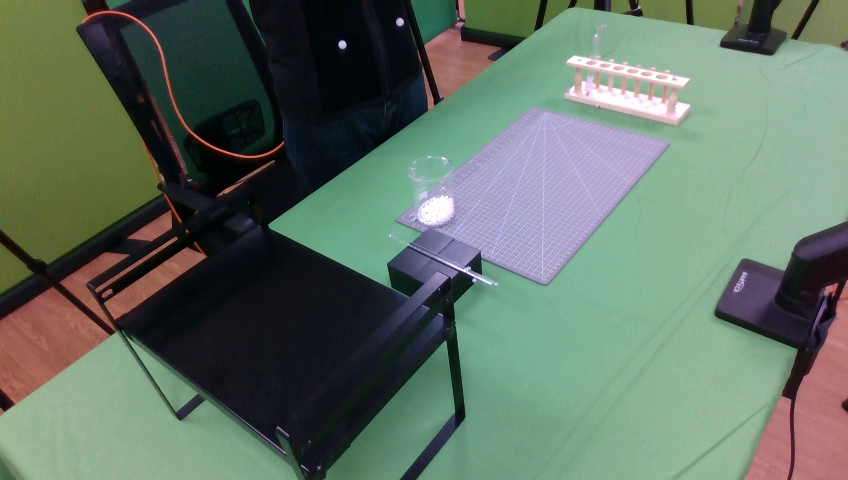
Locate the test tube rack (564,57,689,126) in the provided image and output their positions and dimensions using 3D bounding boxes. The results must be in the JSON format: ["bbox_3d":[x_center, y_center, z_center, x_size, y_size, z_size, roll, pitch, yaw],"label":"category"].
[{"bbox_3d":[0.411,-0.311,1.230,0.240,0.085,0.067,23,49,31],"label":"test tube rack"}]

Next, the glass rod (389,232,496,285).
[{"bbox_3d":[0.022,0.025,0.878,0.198,0.008,0.008,25,50,33],"label":"glass rod"}]

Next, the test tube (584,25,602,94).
[{"bbox_3d":[0.341,-0.362,1.224,0.017,0.151,0.017,-2,47,2],"label":"test tube"}]

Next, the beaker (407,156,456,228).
[{"bbox_3d":[0.016,-0.079,1.002,0.073,0.101,0.084,26,49,33],"label":"beaker"}]
